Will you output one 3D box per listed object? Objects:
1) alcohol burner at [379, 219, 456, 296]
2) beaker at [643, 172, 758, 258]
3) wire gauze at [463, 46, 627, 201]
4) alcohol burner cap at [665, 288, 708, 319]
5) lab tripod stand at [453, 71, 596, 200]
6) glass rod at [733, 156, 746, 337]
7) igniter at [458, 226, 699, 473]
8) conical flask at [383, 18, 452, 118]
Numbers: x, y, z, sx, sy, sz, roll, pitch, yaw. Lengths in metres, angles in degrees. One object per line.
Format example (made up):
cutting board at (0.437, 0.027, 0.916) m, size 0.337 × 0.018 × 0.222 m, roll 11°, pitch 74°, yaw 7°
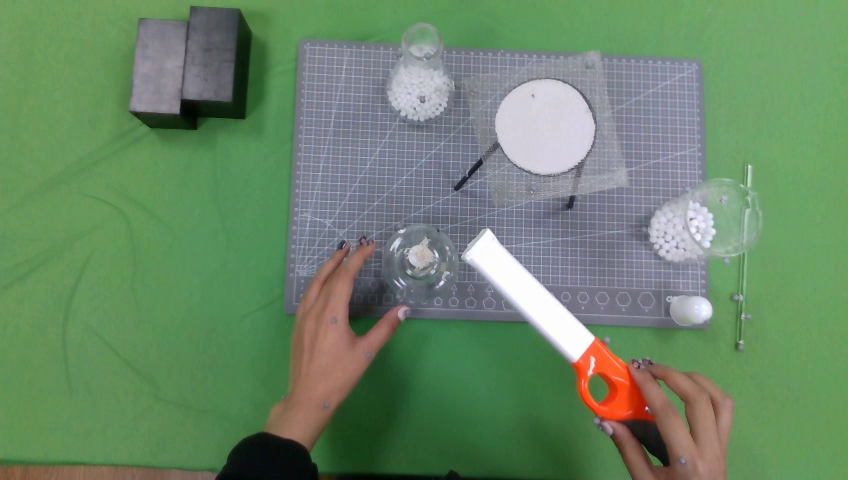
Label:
alcohol burner at (-0.006, 0.015, 0.586) m, size 0.078 × 0.119 × 0.077 m, roll 0°, pitch 82°, yaw 0°
beaker at (0.274, -0.022, 0.610) m, size 0.084 × 0.100 × 0.074 m, roll -35°, pitch 86°, yaw -6°
wire gauze at (0.105, -0.101, 0.527) m, size 0.125 × 0.011 × 0.121 m, roll -10°, pitch 84°, yaw -3°
alcohol burner cap at (0.276, 0.065, 0.628) m, size 0.034 × 0.048 × 0.034 m, roll 0°, pitch 82°, yaw -3°
lab tripod stand at (0.102, -0.095, 0.594) m, size 0.148 × 0.131 × 0.148 m, roll 0°, pitch 85°, yaw -2°
glass rod at (0.344, 0.005, 0.658) m, size 0.008 × 0.008 × 0.199 m, roll 6°, pitch 83°, yaw -2°
igniter at (0.135, 0.094, 0.504) m, size 0.277 × 0.025 × 0.057 m, roll 44°, pitch 79°, yaw -8°
conical flask at (-0.005, -0.175, 0.604) m, size 0.075 × 0.122 × 0.075 m, roll 0°, pitch 83°, yaw -2°
